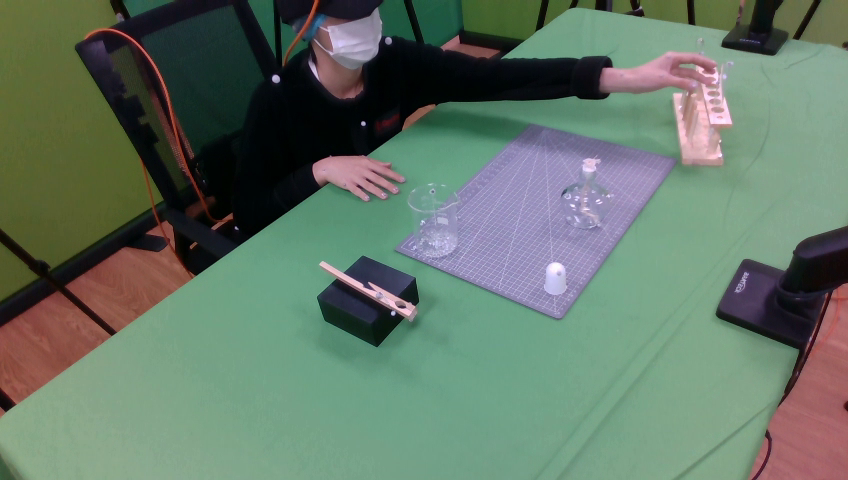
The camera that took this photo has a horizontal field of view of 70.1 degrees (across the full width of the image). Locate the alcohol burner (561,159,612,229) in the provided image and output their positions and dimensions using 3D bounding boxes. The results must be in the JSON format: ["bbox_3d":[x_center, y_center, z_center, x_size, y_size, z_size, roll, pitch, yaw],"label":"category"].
[{"bbox_3d":[0.257,-0.077,0.951,0.078,0.119,0.077,-3,40,3],"label":"alcohol burner"}]

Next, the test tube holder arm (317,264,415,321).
[{"bbox_3d":[-0.083,0.071,0.833,0.177,0.015,0.013,22,54,30],"label":"test tube holder arm"}]

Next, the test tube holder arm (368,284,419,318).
[{"bbox_3d":[-0.044,0.082,0.813,0.087,0.015,0.010,23,54,31],"label":"test tube holder arm"}]

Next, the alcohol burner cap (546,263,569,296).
[{"bbox_3d":[0.191,0.053,0.862,0.034,0.048,0.033,-5,40,4],"label":"alcohol burner cap"}]

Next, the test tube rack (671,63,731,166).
[{"bbox_3d":[0.513,-0.240,1.132,0.066,0.085,0.242,4,41,14],"label":"test tube rack"}]

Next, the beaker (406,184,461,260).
[{"bbox_3d":[0.019,-0.026,0.939,0.084,0.101,0.074,1,41,10],"label":"beaker"}]

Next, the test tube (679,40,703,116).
[{"bbox_3d":[0.502,-0.303,1.138,0.017,0.151,0.017,-3,40,3],"label":"test tube"}]

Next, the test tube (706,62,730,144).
[{"bbox_3d":[0.507,-0.233,1.046,0.017,0.151,0.017,-5,36,4],"label":"test tube"}]
